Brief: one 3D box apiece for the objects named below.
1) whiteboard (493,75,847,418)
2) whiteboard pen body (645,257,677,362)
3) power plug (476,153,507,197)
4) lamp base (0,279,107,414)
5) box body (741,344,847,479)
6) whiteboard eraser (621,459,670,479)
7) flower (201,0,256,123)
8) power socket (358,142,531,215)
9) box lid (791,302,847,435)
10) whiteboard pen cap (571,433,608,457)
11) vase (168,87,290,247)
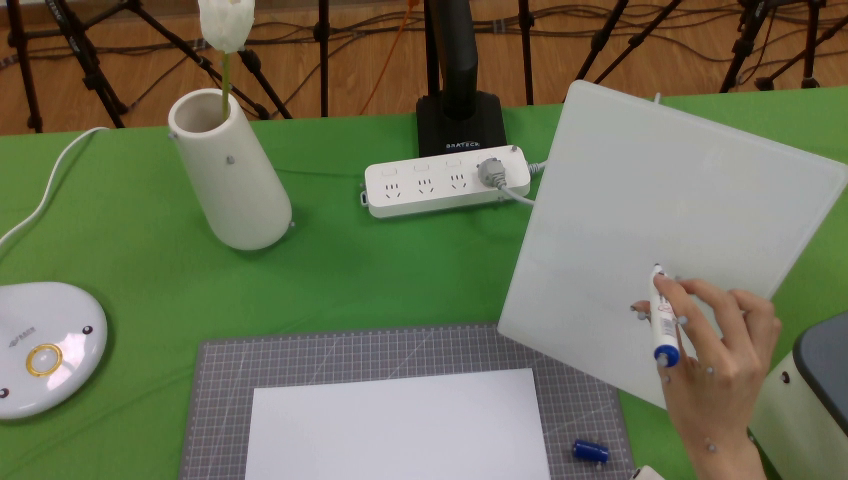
[{"bbox_3d":[0.224,-0.009,0.603,0.216,0.308,0.143,24,40,17],"label":"whiteboard"},{"bbox_3d":[0.172,0.044,0.444,0.017,0.017,0.140,14,28,11],"label":"whiteboard pen body"},{"bbox_3d":[0.082,-0.074,0.747,0.035,0.053,0.072,1,64,2],"label":"power plug"},{"bbox_3d":[-0.448,0.067,0.610,0.178,0.182,0.160,25,61,20],"label":"lamp base"},{"bbox_3d":[0.485,0.218,0.499,0.254,0.162,0.360,-20,59,-11],"label":"box body"},{"bbox_3d":[0.187,0.260,0.551,0.055,0.042,0.112,38,67,23],"label":"whiteboard eraser"},{"bbox_3d":[-0.200,-0.114,0.611,0.038,0.363,0.044,44,58,7],"label":"flower"},{"bbox_3d":[0.027,-0.080,0.778,0.227,0.033,0.071,-8,59,-4],"label":"power socket"},{"bbox_3d":[0.481,0.176,0.437,0.263,0.015,0.367,-20,59,-10],"label":"box lid"},{"bbox_3d":[0.164,0.204,0.600,0.033,0.018,0.018,14,59,7],"label":"whiteboard pen cap"},{"bbox_3d":[-0.218,-0.076,0.684,0.098,0.202,0.097,-1,57,2],"label":"vase"}]
